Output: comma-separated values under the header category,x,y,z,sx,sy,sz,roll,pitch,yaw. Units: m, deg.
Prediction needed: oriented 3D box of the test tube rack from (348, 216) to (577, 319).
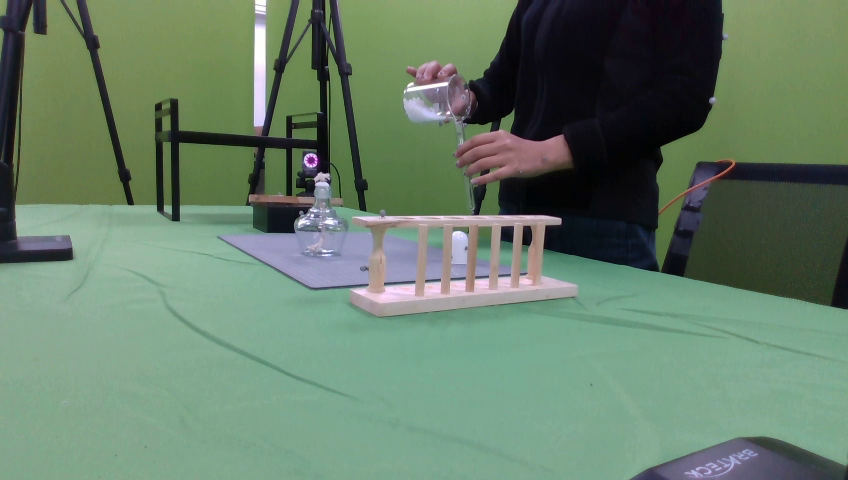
category,x,y,z,sx,sy,sz,roll,pitch,yaw
test tube rack,0.048,0.021,0.619,0.244,0.085,0.066,-2,9,-31

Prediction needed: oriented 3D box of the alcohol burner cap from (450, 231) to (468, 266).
category,x,y,z,sx,sy,sz,roll,pitch,yaw
alcohol burner cap,0.046,0.011,0.838,0.034,0.048,0.034,3,6,0

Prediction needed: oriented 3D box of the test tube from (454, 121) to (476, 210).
category,x,y,z,sx,sy,sz,roll,pitch,yaw
test tube,0.068,-0.123,1.001,0.017,0.150,0.017,-8,-3,0

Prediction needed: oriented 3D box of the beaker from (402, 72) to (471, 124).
category,x,y,z,sx,sy,sz,roll,pitch,yaw
beaker,0.019,-0.235,1.028,0.100,0.084,0.074,1,7,36

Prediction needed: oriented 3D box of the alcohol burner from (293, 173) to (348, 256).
category,x,y,z,sx,sy,sz,roll,pitch,yaw
alcohol burner,-0.147,-0.036,0.859,0.078,0.119,0.078,4,8,0

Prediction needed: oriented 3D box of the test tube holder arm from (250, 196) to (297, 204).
category,x,y,z,sx,sy,sz,roll,pitch,yaw
test tube holder arm,-0.284,-0.076,1.141,0.088,0.015,0.010,0,10,-29

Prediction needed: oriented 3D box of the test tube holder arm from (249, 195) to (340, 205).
category,x,y,z,sx,sy,sz,roll,pitch,yaw
test tube holder arm,-0.247,-0.077,1.169,0.179,0.015,0.013,-1,10,-31
